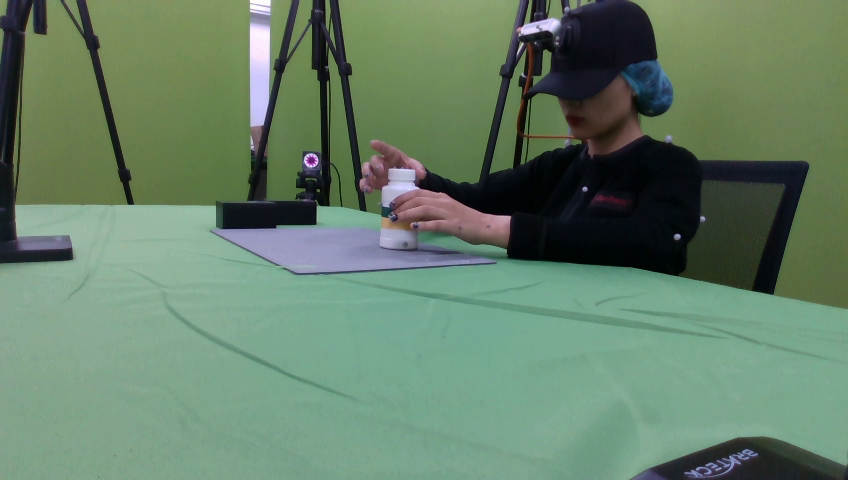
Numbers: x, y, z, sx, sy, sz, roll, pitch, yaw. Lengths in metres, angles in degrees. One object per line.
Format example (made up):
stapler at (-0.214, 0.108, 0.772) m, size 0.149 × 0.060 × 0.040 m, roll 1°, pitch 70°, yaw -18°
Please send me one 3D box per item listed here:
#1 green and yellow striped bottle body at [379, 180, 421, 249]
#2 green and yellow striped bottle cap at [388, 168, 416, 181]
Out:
green and yellow striped bottle body at (-0.038, -0.048, 0.959) m, size 0.063 × 0.119 × 0.063 m, roll 3°, pitch 7°, yaw 0°
green and yellow striped bottle cap at (-0.034, -0.104, 0.953) m, size 0.045 × 0.020 × 0.045 m, roll 0°, pitch 9°, yaw 0°
